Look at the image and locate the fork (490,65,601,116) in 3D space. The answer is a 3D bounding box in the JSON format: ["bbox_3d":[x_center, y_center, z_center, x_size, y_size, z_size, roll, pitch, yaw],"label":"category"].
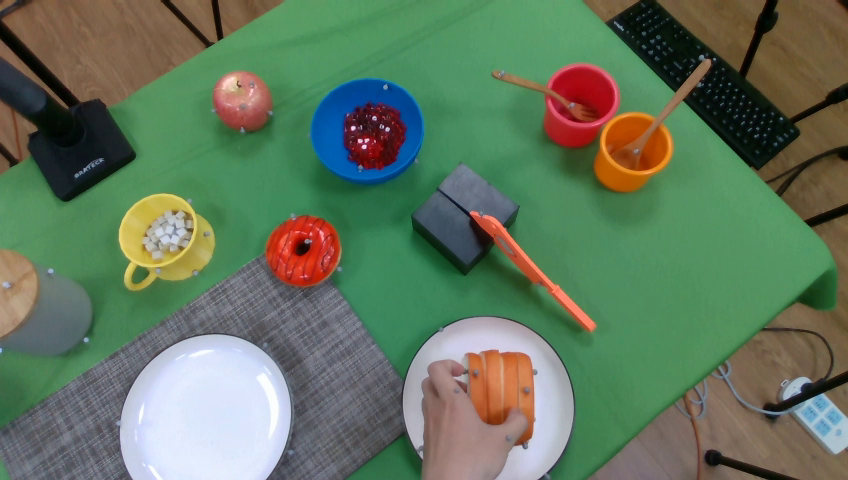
[{"bbox_3d":[0.165,-0.197,0.801,0.209,0.018,0.028,10,65,-39],"label":"fork"}]

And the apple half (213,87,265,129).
[{"bbox_3d":[-0.261,-0.174,0.843,0.081,0.082,0.032,18,68,8],"label":"apple half"}]

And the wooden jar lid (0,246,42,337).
[{"bbox_3d":[-0.481,0.060,0.681,0.108,0.021,0.107,-1,71,3],"label":"wooden jar lid"}]

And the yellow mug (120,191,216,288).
[{"bbox_3d":[-0.343,0.006,0.793,0.099,0.064,0.130,28,76,10],"label":"yellow mug"}]

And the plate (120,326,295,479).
[{"bbox_3d":[-0.257,0.210,0.735,0.208,0.039,0.206,0,72,1],"label":"plate"}]

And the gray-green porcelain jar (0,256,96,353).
[{"bbox_3d":[-0.479,0.080,0.741,0.106,0.127,0.105,0,72,2],"label":"gray-green porcelain jar"}]

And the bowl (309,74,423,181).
[{"bbox_3d":[-0.074,-0.140,0.826,0.151,0.077,0.150,0,73,1],"label":"bowl"}]

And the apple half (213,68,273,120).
[{"bbox_3d":[-0.248,-0.209,0.855,0.080,0.075,0.053,18,67,11],"label":"apple half"}]

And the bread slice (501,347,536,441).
[{"bbox_3d":[0.106,0.175,0.684,0.019,0.132,0.104,1,74,-2],"label":"bread slice"}]

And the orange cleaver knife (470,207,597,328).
[{"bbox_3d":[0.136,0.033,0.762,0.212,0.077,0.012,45,81,-10],"label":"orange cleaver knife"}]

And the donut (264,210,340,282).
[{"bbox_3d":[-0.159,0.008,0.794,0.099,0.048,0.098,0,73,1],"label":"donut"}]

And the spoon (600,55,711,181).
[{"bbox_3d":[0.299,-0.155,0.784,0.041,0.022,0.194,45,124,16],"label":"spoon"}]

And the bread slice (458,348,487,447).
[{"bbox_3d":[0.054,0.174,0.686,0.018,0.135,0.106,-1,68,-2],"label":"bread slice"}]

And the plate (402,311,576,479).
[{"bbox_3d":[0.077,0.191,0.736,0.209,0.038,0.208,0,72,1],"label":"plate"}]
